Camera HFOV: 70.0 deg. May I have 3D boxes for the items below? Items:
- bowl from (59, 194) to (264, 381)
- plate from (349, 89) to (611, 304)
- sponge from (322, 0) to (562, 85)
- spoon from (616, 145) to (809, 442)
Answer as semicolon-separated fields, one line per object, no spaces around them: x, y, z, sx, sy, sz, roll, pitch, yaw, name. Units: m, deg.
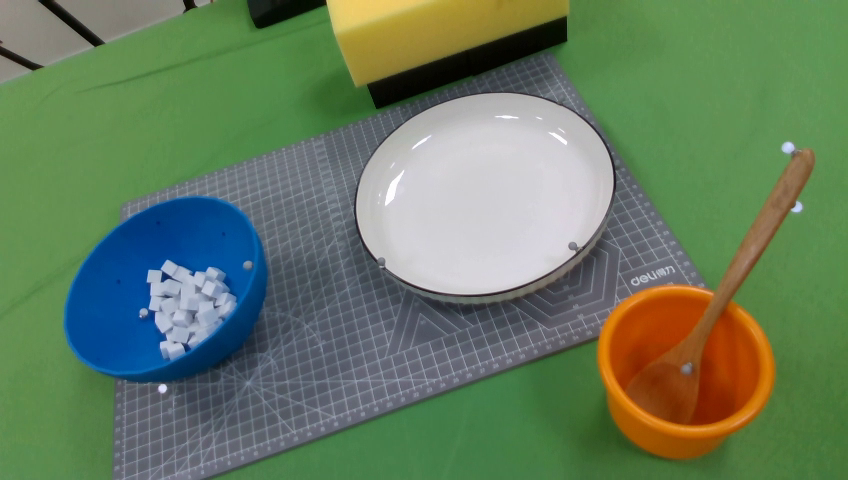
-0.185;0.047;0.467;0.151;0.077;0.150;-7;55;10;bowl
0.043;-0.037;0.492;0.209;0.038;0.207;-6;56;10;plate
0.011;-0.233;0.561;0.207;0.061;0.117;-19;54;1;sponge
0.166;0.037;0.348;0.041;0.194;0.022;34;26;29;spoon
